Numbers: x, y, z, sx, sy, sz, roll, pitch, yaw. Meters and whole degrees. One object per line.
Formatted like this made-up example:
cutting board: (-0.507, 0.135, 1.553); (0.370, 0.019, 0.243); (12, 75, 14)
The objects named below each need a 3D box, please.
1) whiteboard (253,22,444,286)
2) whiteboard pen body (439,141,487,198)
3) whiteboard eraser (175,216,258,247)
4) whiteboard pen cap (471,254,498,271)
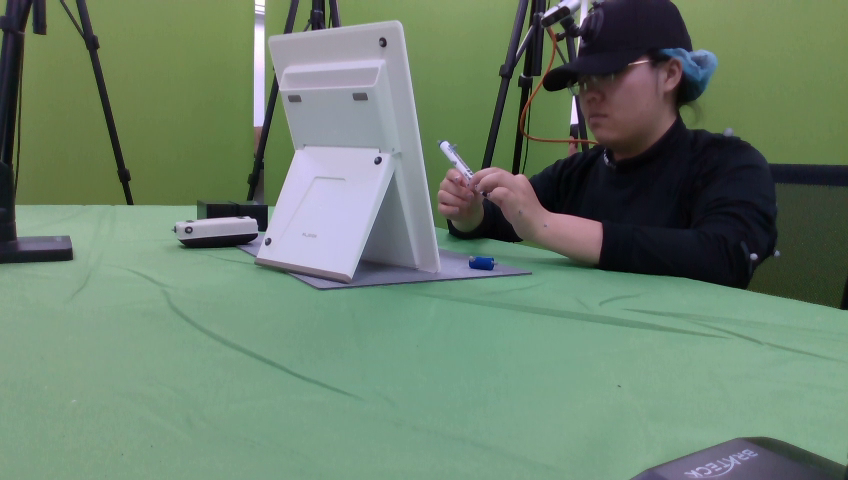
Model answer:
whiteboard: (-0.125, -0.081, 0.715); (0.216, 0.305, 0.144); (9, 29, 36)
whiteboard pen body: (0.062, -0.111, 0.954); (0.017, 0.017, 0.140); (-3, 44, -36)
whiteboard eraser: (-0.314, -0.012, 0.915); (0.113, 0.042, 0.055); (-5, 12, -30)
whiteboard pen cap: (0.081, 0.031, 0.800); (0.033, 0.018, 0.018); (19, 3, -17)
